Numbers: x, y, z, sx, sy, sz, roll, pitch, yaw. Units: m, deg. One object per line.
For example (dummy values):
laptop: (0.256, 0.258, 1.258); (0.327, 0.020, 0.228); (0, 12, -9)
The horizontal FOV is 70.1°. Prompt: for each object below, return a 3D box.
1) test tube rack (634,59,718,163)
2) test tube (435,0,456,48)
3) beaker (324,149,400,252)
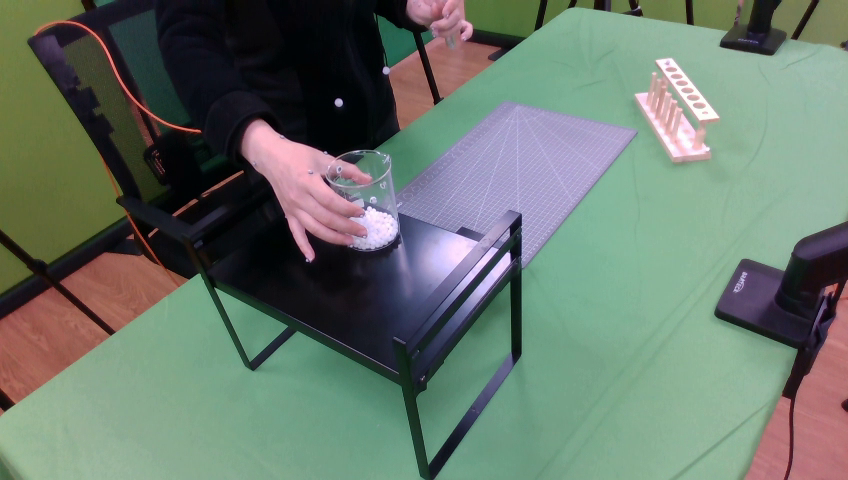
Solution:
test tube rack: (0.470, -0.250, 1.148); (0.067, 0.085, 0.241); (-6, 40, 3)
test tube: (0.031, -0.353, 0.946); (0.017, 0.151, 0.017); (-4, 67, 11)
beaker: (-0.066, -0.044, 0.699); (0.084, 0.101, 0.073); (-34, 48, -28)
